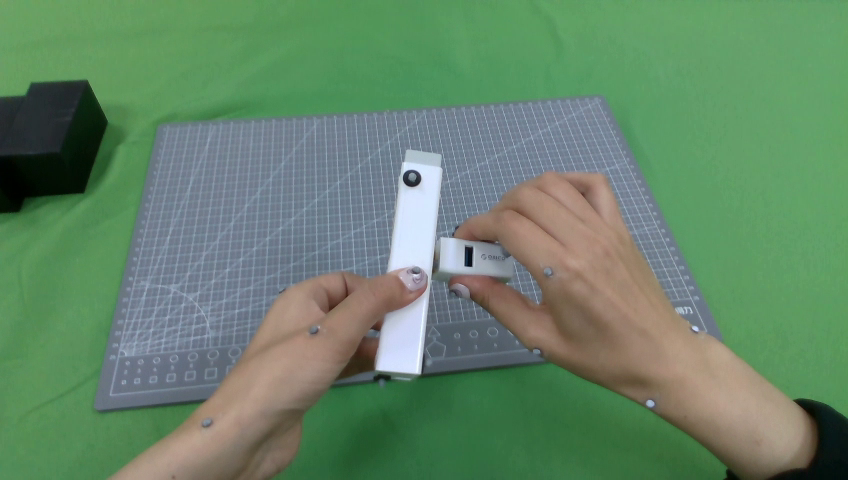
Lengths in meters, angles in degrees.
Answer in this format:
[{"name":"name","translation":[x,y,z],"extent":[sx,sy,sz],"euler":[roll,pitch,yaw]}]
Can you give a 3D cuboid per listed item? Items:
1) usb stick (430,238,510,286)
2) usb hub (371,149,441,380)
[{"name":"usb stick","translation":[0.019,0.013,0.352],"extent":[0.059,0.027,0.021],"euler":[3,71,-1]},{"name":"usb hub","translation":[-0.010,0.015,0.344],"extent":[0.025,0.049,0.124],"euler":[7,73,-5]}]
